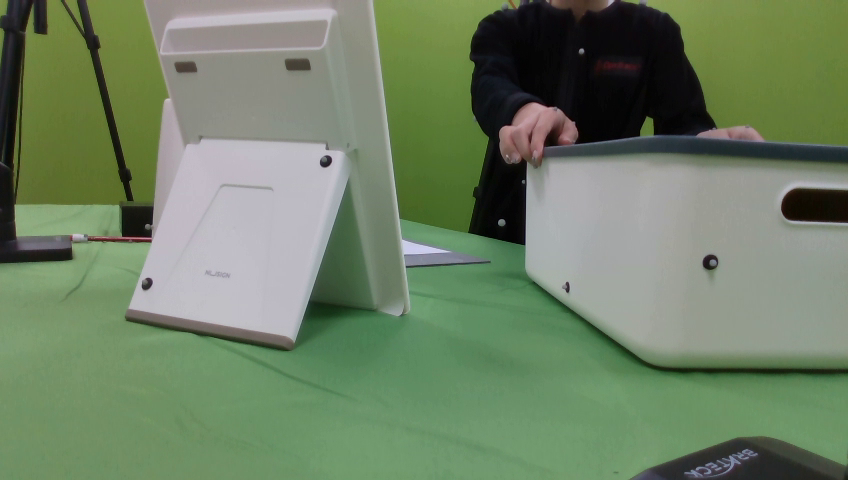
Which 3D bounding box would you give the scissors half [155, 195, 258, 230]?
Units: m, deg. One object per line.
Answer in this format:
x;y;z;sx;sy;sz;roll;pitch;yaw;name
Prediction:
-0.378;-0.051;1.058;0.176;0.040;0.012;20;21;-31;scissors half

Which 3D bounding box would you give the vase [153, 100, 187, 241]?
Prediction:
-0.278;-0.066;0.736;0.098;0.200;0.098;2;9;0;vase

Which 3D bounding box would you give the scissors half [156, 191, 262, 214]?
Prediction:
-0.371;-0.068;1.051;0.176;0.040;0.013;2;25;-24;scissors half

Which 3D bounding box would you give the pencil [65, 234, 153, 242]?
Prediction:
-0.429;-0.001;0.911;0.195;0.012;0.012;1;8;-19;pencil

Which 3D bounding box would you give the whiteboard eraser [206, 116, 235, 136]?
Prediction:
-0.449;-0.251;1.335;0.056;0.042;0.112;1;7;-22;whiteboard eraser

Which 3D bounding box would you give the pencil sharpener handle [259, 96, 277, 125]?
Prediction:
-0.373;-0.304;1.425;0.036;0.067;0.030;13;-1;-37;pencil sharpener handle

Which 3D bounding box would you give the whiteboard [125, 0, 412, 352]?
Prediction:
-0.151;-0.049;0.472;0.216;0.305;0.144;6;27;24;whiteboard

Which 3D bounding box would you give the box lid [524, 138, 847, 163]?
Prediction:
0.262;-0.077;0.573;0.264;0.015;0.371;2;7;-6;box lid

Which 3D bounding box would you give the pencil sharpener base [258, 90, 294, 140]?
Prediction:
-0.341;-0.285;1.388;0.062;0.107;0.076;-3;9;-36;pencil sharpener base

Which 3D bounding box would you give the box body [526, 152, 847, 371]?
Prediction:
0.259;-0.004;0.584;0.255;0.160;0.363;2;7;-6;box body

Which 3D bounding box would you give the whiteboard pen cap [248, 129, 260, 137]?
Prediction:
-0.373;-0.235;1.326;0.018;0.018;0.033;-3;12;-35;whiteboard pen cap

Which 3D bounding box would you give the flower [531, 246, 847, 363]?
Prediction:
0.250;0.063;0.602;0.359;0.038;0.044;20;-13;49;flower

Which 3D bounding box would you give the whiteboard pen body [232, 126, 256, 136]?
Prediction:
-0.407;-0.247;1.372;0.017;0.017;0.140;-3;13;-35;whiteboard pen body
